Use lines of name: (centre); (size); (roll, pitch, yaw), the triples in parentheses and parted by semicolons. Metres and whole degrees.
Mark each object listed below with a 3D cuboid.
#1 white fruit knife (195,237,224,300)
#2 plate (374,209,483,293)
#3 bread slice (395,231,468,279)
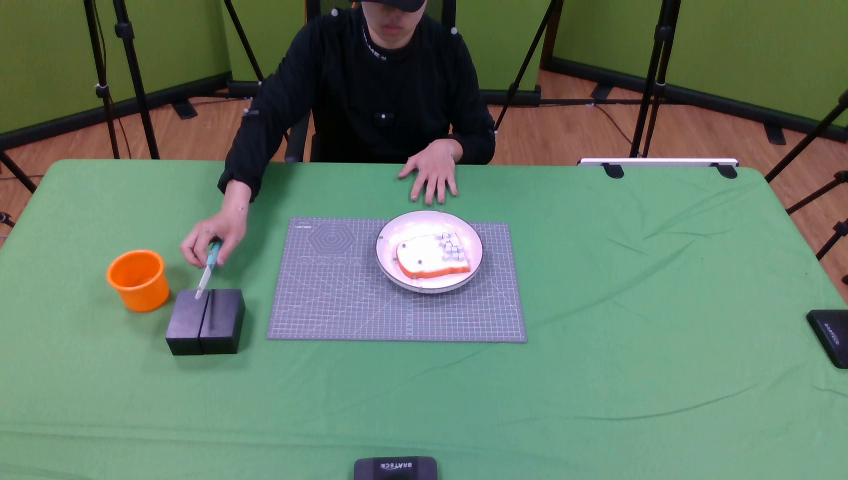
white fruit knife: (-0.370, 0.045, 1.044); (0.016, 0.027, 0.206); (-3, 27, -6)
plate: (0.009, 0.024, 1.160); (0.209, 0.038, 0.208); (2, 46, -2)
bread slice: (0.011, 0.030, 1.158); (0.132, 0.019, 0.104); (-8, 47, -14)
